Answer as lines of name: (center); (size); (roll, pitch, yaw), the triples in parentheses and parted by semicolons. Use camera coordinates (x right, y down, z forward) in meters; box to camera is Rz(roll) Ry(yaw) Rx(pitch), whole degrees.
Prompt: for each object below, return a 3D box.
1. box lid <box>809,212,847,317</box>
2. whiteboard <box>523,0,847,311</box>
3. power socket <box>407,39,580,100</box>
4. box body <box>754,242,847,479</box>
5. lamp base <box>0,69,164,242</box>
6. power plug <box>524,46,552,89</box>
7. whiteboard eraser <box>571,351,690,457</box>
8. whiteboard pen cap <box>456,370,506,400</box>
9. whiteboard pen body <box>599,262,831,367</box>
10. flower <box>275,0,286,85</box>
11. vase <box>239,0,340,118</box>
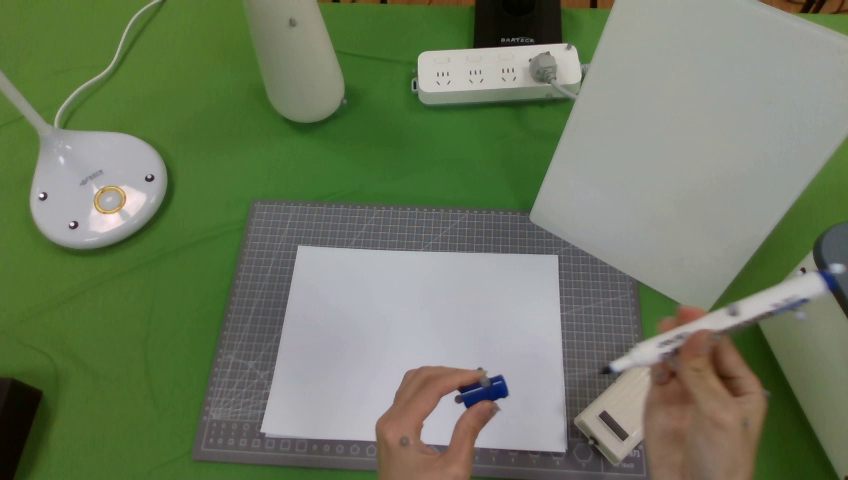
box lid: (0.493, 0.111, 0.453); (0.263, 0.015, 0.368); (-14, 64, -5)
whiteboard: (0.267, -0.115, 0.613); (0.216, 0.307, 0.143); (32, 47, 17)
power socket: (0.090, -0.223, 0.790); (0.227, 0.033, 0.071); (-2, 64, 0)
box body: (0.496, 0.148, 0.519); (0.254, 0.161, 0.360); (-14, 64, -6)
lamp base: (-0.407, -0.111, 0.665); (0.178, 0.182, 0.160); (33, 68, 20)
power plug: (0.142, -0.208, 0.757); (0.035, 0.053, 0.072); (7, 70, 5)
whiteboard eraser: (0.200, 0.153, 0.590); (0.112, 0.042, 0.055); (-38, 67, -16)
whiteboard pen cap: (0.041, 0.101, 0.427); (0.033, 0.018, 0.018); (-15, 62, 15)
whiteboard pen body: (0.172, 0.048, 0.366); (0.141, 0.017, 0.017); (-27, 63, 13)
flower: (-0.144, -0.265, 0.633); (0.044, 0.362, 0.038); (-37, 85, -25)
vase: (-0.160, -0.236, 0.711); (0.098, 0.201, 0.097); (-1, 62, 3)
